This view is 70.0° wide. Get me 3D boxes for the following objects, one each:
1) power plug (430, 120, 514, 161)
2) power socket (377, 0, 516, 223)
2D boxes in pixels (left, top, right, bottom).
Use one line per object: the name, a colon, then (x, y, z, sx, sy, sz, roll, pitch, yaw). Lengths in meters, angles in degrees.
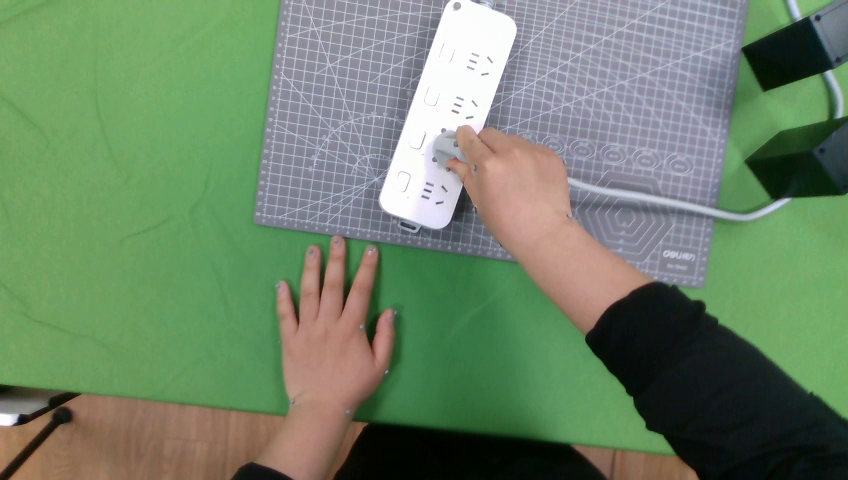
power plug: (0.039, -0.080, 0.550, 0.073, 0.052, 0.035, 34, 90, -8)
power socket: (0.020, -0.124, 0.568, 0.072, 0.032, 0.226, 19, 92, -6)
